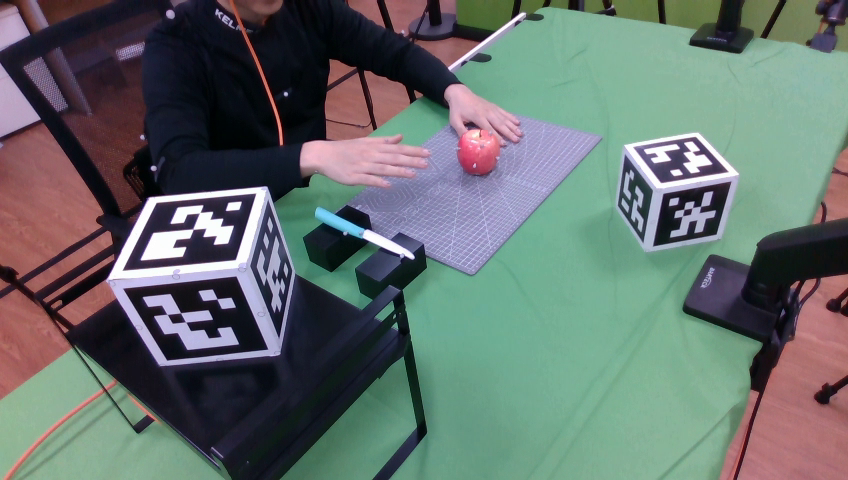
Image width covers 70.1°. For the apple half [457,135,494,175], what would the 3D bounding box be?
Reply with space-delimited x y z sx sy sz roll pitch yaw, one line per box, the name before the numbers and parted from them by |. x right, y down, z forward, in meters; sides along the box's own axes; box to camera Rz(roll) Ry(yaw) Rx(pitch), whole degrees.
apple half | 0.086 -0.145 1.083 0.080 0.081 0.033 22 44 30

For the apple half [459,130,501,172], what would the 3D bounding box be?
apple half | 0.109 -0.166 1.106 0.080 0.075 0.053 18 42 33

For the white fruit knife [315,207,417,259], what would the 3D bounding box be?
white fruit knife | -0.094 -0.010 0.925 0.206 0.016 0.027 23 40 30
